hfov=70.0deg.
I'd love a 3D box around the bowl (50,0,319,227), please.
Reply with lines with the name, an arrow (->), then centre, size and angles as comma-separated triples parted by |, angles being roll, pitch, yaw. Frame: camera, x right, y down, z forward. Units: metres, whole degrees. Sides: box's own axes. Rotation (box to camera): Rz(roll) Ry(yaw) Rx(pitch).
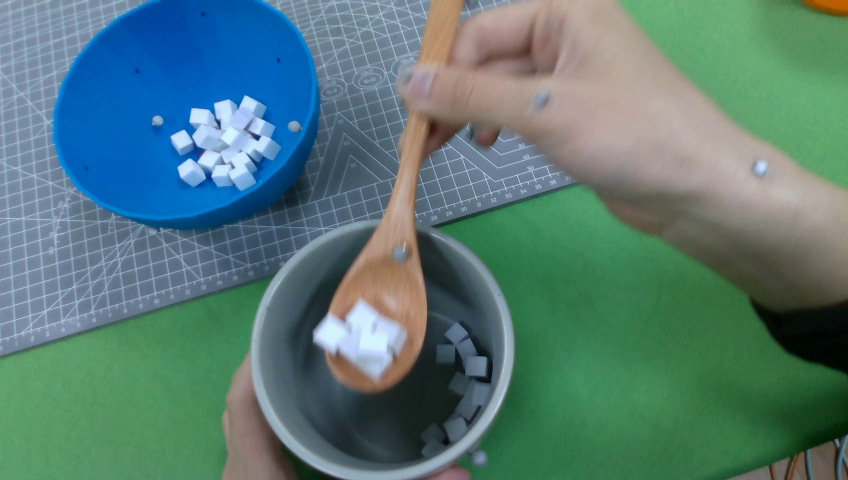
bowl -> -0.131, -0.068, 0.371 | 0.151, 0.077, 0.150 | -1, 70, 4

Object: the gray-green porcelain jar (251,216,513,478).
gray-green porcelain jar -> -0.012, 0.060, 0.296 | 0.106, 0.127, 0.105 | -1, 70, 4

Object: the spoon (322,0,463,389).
spoon -> -0.003, -0.037, 0.240 | 0.041, 0.022, 0.194 | 14, 94, 11
